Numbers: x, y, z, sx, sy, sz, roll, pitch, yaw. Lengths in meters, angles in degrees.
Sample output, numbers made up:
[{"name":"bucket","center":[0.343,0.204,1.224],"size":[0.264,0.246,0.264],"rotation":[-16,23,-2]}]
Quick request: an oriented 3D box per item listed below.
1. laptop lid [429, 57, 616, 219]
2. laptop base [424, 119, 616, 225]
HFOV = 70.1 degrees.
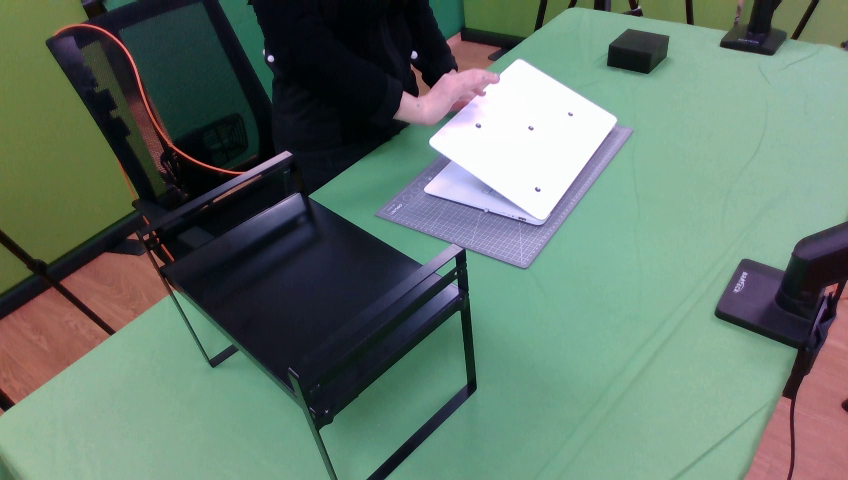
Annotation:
[{"name":"laptop lid","center":[0.191,-0.199,1.085],"size":[0.241,0.013,0.357],"rotation":[37,52,9]},{"name":"laptop base","center":[0.188,-0.156,1.131],"size":[0.234,0.023,0.355],"rotation":[16,46,29]}]
